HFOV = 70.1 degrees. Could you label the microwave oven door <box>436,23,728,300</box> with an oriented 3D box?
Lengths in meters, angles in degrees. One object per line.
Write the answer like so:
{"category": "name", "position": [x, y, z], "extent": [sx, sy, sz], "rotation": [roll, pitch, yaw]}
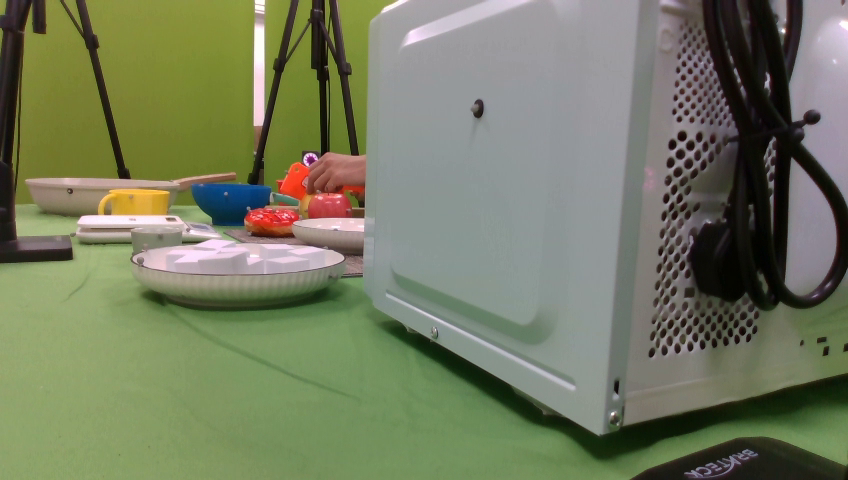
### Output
{"category": "microwave oven door", "position": [0.180, -0.073, 0.621], "extent": [0.358, 0.243, 0.039], "rotation": [-2, 9, -29]}

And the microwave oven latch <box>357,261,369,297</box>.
{"category": "microwave oven latch", "position": [-0.019, 0.033, 0.530], "extent": [0.079, 0.029, 0.030], "rotation": [-1, 7, -27]}

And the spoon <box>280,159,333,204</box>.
{"category": "spoon", "position": [-0.316, -0.159, 1.640], "extent": [0.194, 0.022, 0.041], "rotation": [-50, 32, -20]}

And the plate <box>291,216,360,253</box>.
{"category": "plate", "position": [-0.103, -0.009, 0.945], "extent": [0.209, 0.038, 0.209], "rotation": [2, 8, 0]}

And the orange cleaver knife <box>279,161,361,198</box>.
{"category": "orange cleaver knife", "position": [-0.190, -0.105, 1.237], "extent": [0.212, 0.077, 0.012], "rotation": [10, 5, -33]}

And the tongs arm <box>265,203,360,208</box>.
{"category": "tongs arm", "position": [-0.212, -0.070, 1.440], "extent": [0.389, 0.027, 0.028], "rotation": [1, 0, -17]}

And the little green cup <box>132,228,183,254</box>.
{"category": "little green cup", "position": [-0.342, 0.006, 0.779], "extent": [0.061, 0.038, 0.061], "rotation": [2, 8, 0]}

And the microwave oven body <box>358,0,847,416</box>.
{"category": "microwave oven body", "position": [0.211, -0.047, 0.474], "extent": [0.444, 0.260, 0.324], "rotation": [-1, 7, -28]}

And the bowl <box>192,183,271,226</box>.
{"category": "bowl", "position": [-0.382, -0.070, 1.202], "extent": [0.151, 0.077, 0.151], "rotation": [3, 7, 0]}

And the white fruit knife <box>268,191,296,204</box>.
{"category": "white fruit knife", "position": [-0.364, -0.105, 1.464], "extent": [0.208, 0.027, 0.016], "rotation": [15, -1, -34]}

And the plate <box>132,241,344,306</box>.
{"category": "plate", "position": [-0.187, 0.033, 0.625], "extent": [0.208, 0.039, 0.207], "rotation": [2, 7, 0]}

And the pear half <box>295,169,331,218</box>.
{"category": "pear half", "position": [-0.210, -0.085, 1.199], "extent": [0.077, 0.110, 0.055], "rotation": [-17, 31, -41]}

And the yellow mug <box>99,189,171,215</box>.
{"category": "yellow mug", "position": [-0.518, -0.055, 1.080], "extent": [0.099, 0.064, 0.131], "rotation": [6, 9, 26]}

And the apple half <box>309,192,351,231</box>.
{"category": "apple half", "position": [-0.173, -0.055, 1.126], "extent": [0.081, 0.081, 0.033], "rotation": [2, 11, 2]}

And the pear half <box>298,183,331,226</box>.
{"category": "pear half", "position": [-0.228, -0.073, 1.236], "extent": [0.071, 0.088, 0.031], "rotation": [-9, 9, -38]}

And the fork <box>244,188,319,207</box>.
{"category": "fork", "position": [-0.356, -0.105, 1.526], "extent": [0.208, 0.018, 0.028], "rotation": [16, -6, -41]}

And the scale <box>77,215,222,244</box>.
{"category": "scale", "position": [-0.434, -0.019, 0.963], "extent": [0.202, 0.031, 0.148], "rotation": [-1, 9, -27]}

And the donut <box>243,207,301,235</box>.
{"category": "donut", "position": [-0.261, -0.032, 1.043], "extent": [0.099, 0.048, 0.099], "rotation": [4, 9, 0]}

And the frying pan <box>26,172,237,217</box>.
{"category": "frying pan", "position": [-0.624, -0.118, 1.387], "extent": [0.305, 0.102, 0.490], "rotation": [8, 17, 32]}

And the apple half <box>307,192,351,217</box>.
{"category": "apple half", "position": [-0.174, -0.049, 1.087], "extent": [0.081, 0.074, 0.053], "rotation": [5, 11, 2]}

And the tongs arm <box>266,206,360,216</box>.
{"category": "tongs arm", "position": [-0.174, -0.061, 1.363], "extent": [0.387, 0.026, 0.050], "rotation": [-1, 4, -32]}
